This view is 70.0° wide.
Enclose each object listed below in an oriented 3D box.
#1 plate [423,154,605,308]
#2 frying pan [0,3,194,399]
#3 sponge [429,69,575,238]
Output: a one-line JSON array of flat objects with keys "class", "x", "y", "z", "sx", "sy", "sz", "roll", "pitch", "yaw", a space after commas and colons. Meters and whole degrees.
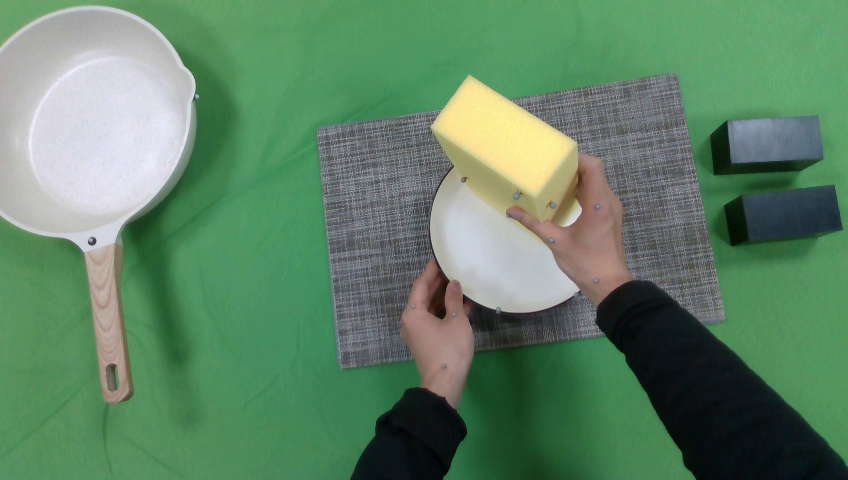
[{"class": "plate", "x": 0.104, "y": -0.022, "z": 0.710, "sx": 0.207, "sy": 0.039, "sz": 0.207, "roll": -1, "pitch": 82, "yaw": 5}, {"class": "frying pan", "x": -0.395, "y": -0.050, "z": 0.729, "sx": 0.307, "sy": 0.103, "sz": 0.484, "roll": -16, "pitch": 73, "yaw": 4}, {"class": "sponge", "x": 0.089, "y": -0.077, "z": 0.621, "sx": 0.117, "sy": 0.208, "sz": 0.061, "roll": 36, "pitch": 89, "yaw": 18}]
